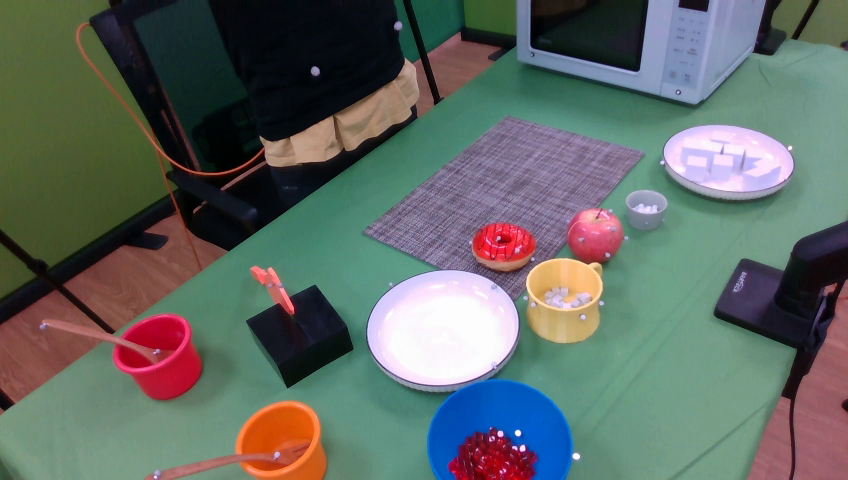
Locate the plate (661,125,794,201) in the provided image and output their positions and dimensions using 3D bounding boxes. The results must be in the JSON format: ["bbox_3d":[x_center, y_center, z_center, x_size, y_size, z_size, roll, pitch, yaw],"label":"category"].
[{"bbox_3d":[0.513,-0.128,1.035,0.207,0.039,0.206,-4,40,4],"label":"plate"}]

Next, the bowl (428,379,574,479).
[{"bbox_3d":[0.082,0.233,0.644,0.151,0.077,0.150,-4,39,4],"label":"bowl"}]

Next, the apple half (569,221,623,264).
[{"bbox_3d":[0.251,0.010,0.884,0.081,0.081,0.032,3,37,12],"label":"apple half"}]

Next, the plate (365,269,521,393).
[{"bbox_3d":[0.027,0.123,0.813,0.209,0.038,0.208,-4,40,4],"label":"plate"}]

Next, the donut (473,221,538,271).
[{"bbox_3d":[0.124,0.008,0.923,0.099,0.048,0.098,-4,38,3],"label":"donut"}]

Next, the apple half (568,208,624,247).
[{"bbox_3d":[0.259,-0.014,0.914,0.080,0.075,0.053,0,36,15],"label":"apple half"}]

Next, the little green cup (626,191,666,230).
[{"bbox_3d":[0.352,-0.046,0.963,0.061,0.039,0.061,-4,40,4],"label":"little green cup"}]

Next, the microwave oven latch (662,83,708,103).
[{"bbox_3d":[0.517,-0.296,1.204,0.078,0.029,0.030,27,52,35],"label":"microwave oven latch"}]

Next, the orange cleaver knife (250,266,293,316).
[{"bbox_3d":[-0.221,0.070,0.873,0.012,0.077,0.210,-26,12,-21],"label":"orange cleaver knife"}]

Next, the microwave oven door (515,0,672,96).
[{"bbox_3d":[0.343,-0.454,1.259,0.353,0.245,0.039,26,51,33],"label":"microwave oven door"}]

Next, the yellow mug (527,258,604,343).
[{"bbox_3d":[0.201,0.073,0.825,0.131,0.064,0.099,-32,46,-27],"label":"yellow mug"}]

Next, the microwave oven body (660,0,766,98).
[{"bbox_3d":[0.472,-0.513,1.317,0.438,0.261,0.327,26,51,34],"label":"microwave oven body"}]

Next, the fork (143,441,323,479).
[{"bbox_3d":[-0.189,0.231,0.631,0.028,0.018,0.209,35,12,37],"label":"fork"}]

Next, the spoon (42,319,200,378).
[{"bbox_3d":[-0.385,0.135,0.779,0.195,0.021,0.041,29,37,-26],"label":"spoon"}]
